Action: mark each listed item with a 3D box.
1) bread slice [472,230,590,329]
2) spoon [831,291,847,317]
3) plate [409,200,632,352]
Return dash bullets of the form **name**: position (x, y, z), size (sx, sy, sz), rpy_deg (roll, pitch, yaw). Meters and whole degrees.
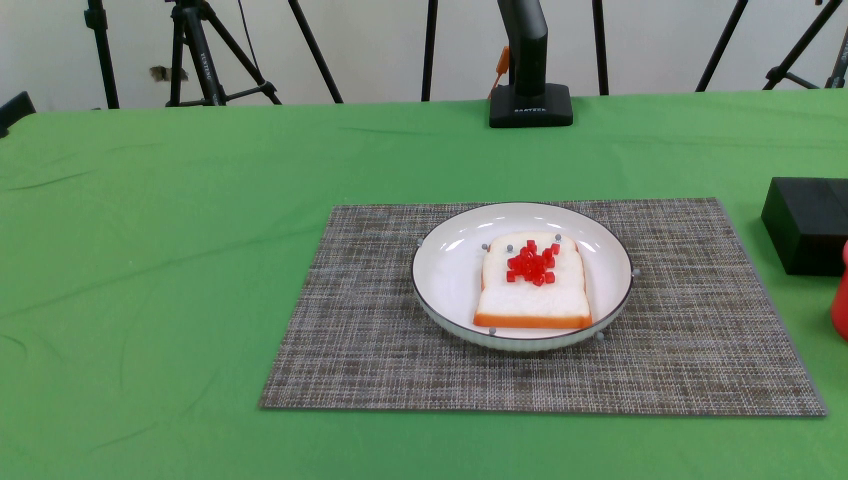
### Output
- **bread slice**: position (0.102, 0.034, 0.588), size (0.105, 0.019, 0.130), rpy_deg (1, 38, 8)
- **spoon**: position (0.425, 0.025, 0.472), size (0.022, 0.194, 0.041), rpy_deg (48, 45, -7)
- **plate**: position (0.090, 0.033, 0.587), size (0.209, 0.038, 0.207), rpy_deg (-4, 37, 3)
